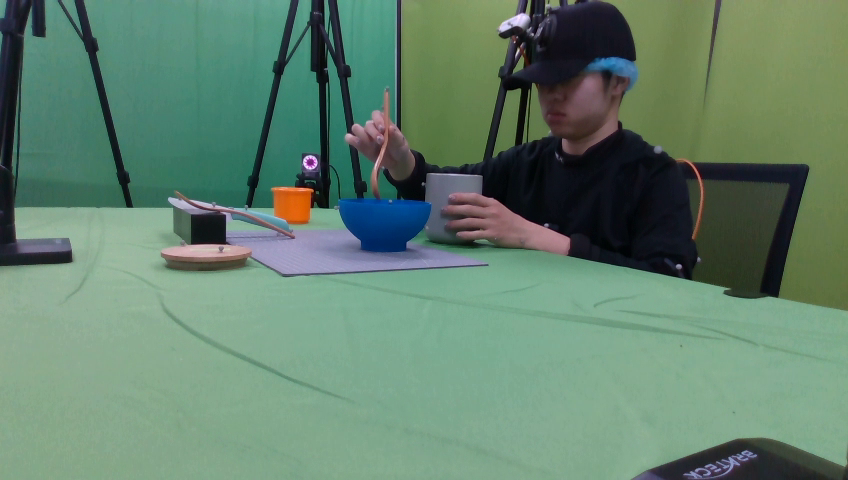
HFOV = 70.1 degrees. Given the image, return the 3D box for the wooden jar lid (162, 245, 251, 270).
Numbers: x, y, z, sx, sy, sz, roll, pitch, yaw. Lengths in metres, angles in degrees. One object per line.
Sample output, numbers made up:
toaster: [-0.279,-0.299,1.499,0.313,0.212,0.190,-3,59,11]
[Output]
wooden jar lid: [-0.278,0.022,0.777,0.108,0.020,0.108,2,6,0]

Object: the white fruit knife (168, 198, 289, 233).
white fruit knife: [-0.329,-0.044,1.036,0.208,0.027,0.016,14,-2,-32]

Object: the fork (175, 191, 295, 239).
fork: [-0.306,-0.039,0.993,0.208,0.018,0.028,19,-7,-34]

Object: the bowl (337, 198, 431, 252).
bowl: [-0.066,-0.024,0.967,0.151,0.077,0.151,3,7,0]

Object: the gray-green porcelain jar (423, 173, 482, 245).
gray-green porcelain jar: [0.051,-0.058,1.115,0.106,0.126,0.106,3,8,0]

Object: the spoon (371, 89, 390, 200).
spoon: [-0.068,-0.159,1.000,0.021,0.193,0.041,8,-13,2]
